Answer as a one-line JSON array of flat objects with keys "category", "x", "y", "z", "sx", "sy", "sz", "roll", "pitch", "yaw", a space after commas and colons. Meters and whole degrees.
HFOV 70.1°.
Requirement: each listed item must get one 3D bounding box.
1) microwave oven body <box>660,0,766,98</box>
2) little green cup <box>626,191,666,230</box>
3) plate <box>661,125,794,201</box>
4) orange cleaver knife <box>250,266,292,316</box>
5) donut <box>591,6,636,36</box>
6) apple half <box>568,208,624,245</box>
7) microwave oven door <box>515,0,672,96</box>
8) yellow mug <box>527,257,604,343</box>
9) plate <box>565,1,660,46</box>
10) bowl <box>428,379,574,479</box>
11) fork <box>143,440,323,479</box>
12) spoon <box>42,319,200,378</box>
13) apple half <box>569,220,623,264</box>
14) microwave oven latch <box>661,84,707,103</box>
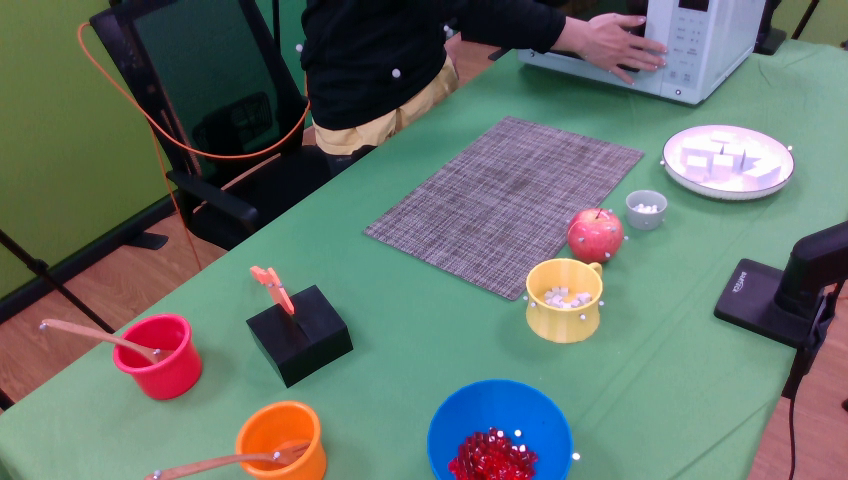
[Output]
[{"category": "microwave oven body", "x": 0.472, "y": -0.513, "z": 1.317, "sx": 0.438, "sy": 0.261, "sz": 0.327, "roll": 26, "pitch": 51, "yaw": 34}, {"category": "little green cup", "x": 0.352, "y": -0.046, "z": 0.963, "sx": 0.061, "sy": 0.039, "sz": 0.061, "roll": -4, "pitch": 40, "yaw": 4}, {"category": "plate", "x": 0.513, "y": -0.128, "z": 1.035, "sx": 0.207, "sy": 0.039, "sz": 0.206, "roll": -4, "pitch": 40, "yaw": 4}, {"category": "orange cleaver knife", "x": -0.221, "y": 0.071, "z": 0.873, "sx": 0.012, "sy": 0.077, "sz": 0.210, "roll": -26, "pitch": 11, "yaw": -21}, {"category": "donut", "x": 0.427, "y": -0.497, "z": 1.364, "sx": 0.099, "sy": 0.048, "sz": 0.098, "roll": -5, "pitch": 38, "yaw": 5}, {"category": "apple half", "x": 0.259, "y": -0.014, "z": 0.914, "sx": 0.080, "sy": 0.075, "sz": 0.053, "roll": 1, "pitch": 36, "yaw": 15}, {"category": "microwave oven door", "x": 0.343, "y": -0.455, "z": 1.259, "sx": 0.353, "sy": 0.245, "sz": 0.039, "roll": 26, "pitch": 51, "yaw": 33}, {"category": "yellow mug", "x": 0.201, "y": 0.072, "z": 0.825, "sx": 0.131, "sy": 0.064, "sz": 0.099, "roll": -32, "pitch": 46, "yaw": -27}, {"category": "plate", "x": 0.427, "y": -0.489, "z": 1.377, "sx": 0.209, "sy": 0.038, "sz": 0.208, "roll": -4, "pitch": 40, "yaw": 4}, {"category": "bowl", "x": 0.082, "y": 0.233, "z": 0.644, "sx": 0.151, "sy": 0.077, "sz": 0.150, "roll": -4, "pitch": 39, "yaw": 4}, {"category": "fork", "x": -0.190, "y": 0.231, "z": 0.631, "sx": 0.028, "sy": 0.018, "sz": 0.209, "roll": 38, "pitch": 14, "yaw": 37}, {"category": "spoon", "x": -0.385, "y": 0.135, "z": 0.779, "sx": 0.195, "sy": 0.021, "sz": 0.041, "roll": 29, "pitch": 37, "yaw": -26}, {"category": "apple half", "x": 0.251, "y": 0.010, "z": 0.884, "sx": 0.081, "sy": 0.081, "sz": 0.032, "roll": 3, "pitch": 37, "yaw": 12}, {"category": "microwave oven latch", "x": 0.517, "y": -0.296, "z": 1.204, "sx": 0.078, "sy": 0.029, "sz": 0.030, "roll": 27, "pitch": 52, "yaw": 35}]
